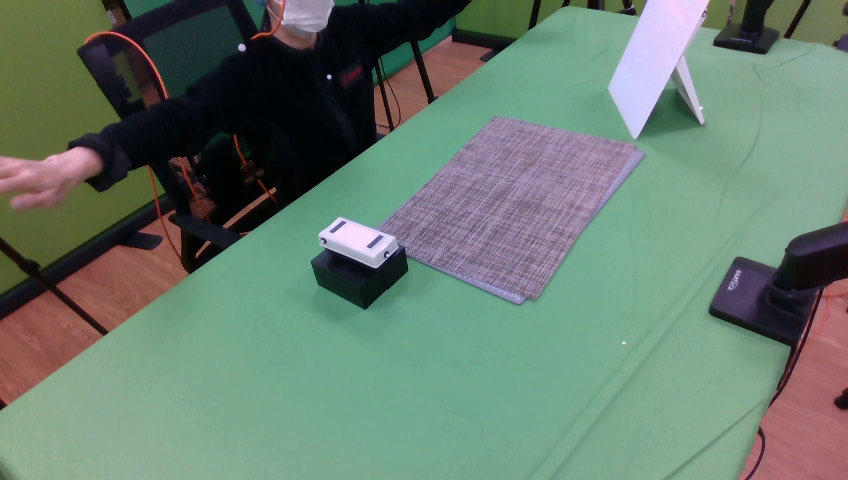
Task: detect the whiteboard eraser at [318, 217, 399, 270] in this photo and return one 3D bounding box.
[{"bbox_3d":[-0.097,0.006,0.887,0.112,0.042,0.056,20,49,29],"label":"whiteboard eraser"}]

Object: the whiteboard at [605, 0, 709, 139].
[{"bbox_3d":[0.496,-0.358,1.146,0.144,0.305,0.216,11,40,-8],"label":"whiteboard"}]
